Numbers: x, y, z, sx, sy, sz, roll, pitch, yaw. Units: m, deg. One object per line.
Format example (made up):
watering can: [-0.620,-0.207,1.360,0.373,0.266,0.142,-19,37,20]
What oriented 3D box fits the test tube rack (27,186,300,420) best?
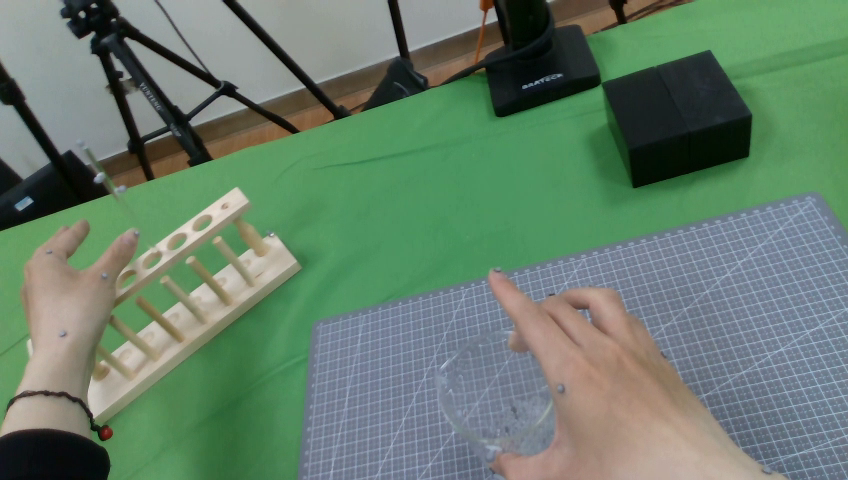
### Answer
test tube rack: [-0.253,0.060,0.605,0.242,0.086,0.066,-39,47,-10]

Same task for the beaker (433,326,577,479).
beaker: [0.057,0.114,0.402,0.083,0.101,0.073,4,54,28]

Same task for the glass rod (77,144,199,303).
glass rod: [-0.265,-0.007,0.575,0.008,0.202,0.008,-11,40,10]
